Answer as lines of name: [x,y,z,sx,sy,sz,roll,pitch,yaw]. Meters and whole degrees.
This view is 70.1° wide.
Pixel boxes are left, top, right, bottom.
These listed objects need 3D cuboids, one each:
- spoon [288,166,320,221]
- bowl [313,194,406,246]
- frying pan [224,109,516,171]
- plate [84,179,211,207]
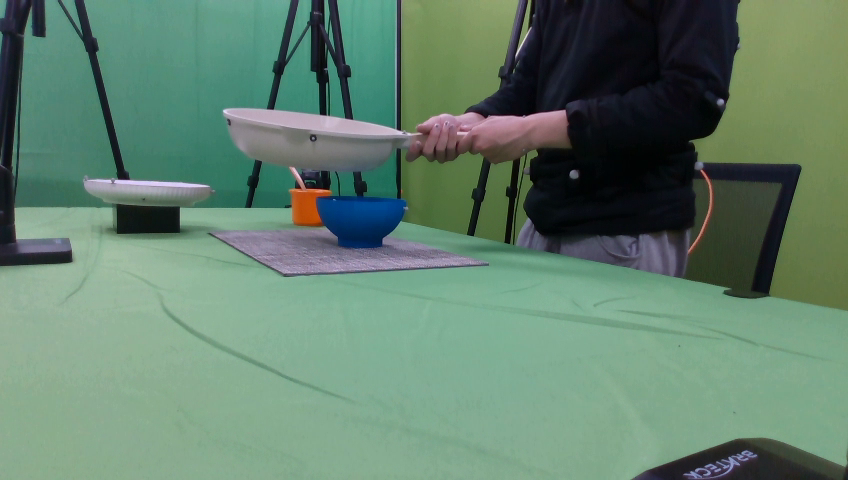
spoon: [-0.268,-0.113,1.336,0.042,0.193,0.021,-4,-34,-43]
bowl: [-0.106,-0.032,0.990,0.151,0.077,0.151,3,6,0]
frying pan: [-0.087,-0.177,1.037,0.488,0.102,0.306,-1,15,2]
plate: [-0.495,-0.085,1.093,0.208,0.039,0.207,4,7,0]
